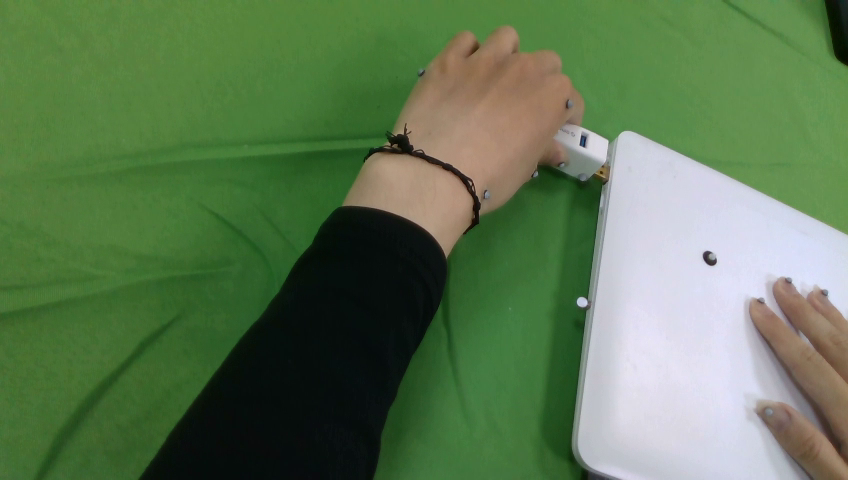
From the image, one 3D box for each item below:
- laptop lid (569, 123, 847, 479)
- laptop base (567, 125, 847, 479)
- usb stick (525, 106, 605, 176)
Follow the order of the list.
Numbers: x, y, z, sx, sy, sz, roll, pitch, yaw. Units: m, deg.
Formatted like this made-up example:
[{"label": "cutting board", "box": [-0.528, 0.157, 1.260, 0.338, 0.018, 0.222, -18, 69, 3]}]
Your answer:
[{"label": "laptop lid", "box": [0.263, 0.078, 0.394, 0.358, 0.013, 0.240, 24, 61, -9]}, {"label": "laptop base", "box": [0.259, 0.081, 0.405, 0.355, 0.023, 0.234, 22, 62, -10]}, {"label": "usb stick", "box": [0.098, -0.061, 0.394, 0.059, 0.027, 0.021, 25, 57, -15]}]
